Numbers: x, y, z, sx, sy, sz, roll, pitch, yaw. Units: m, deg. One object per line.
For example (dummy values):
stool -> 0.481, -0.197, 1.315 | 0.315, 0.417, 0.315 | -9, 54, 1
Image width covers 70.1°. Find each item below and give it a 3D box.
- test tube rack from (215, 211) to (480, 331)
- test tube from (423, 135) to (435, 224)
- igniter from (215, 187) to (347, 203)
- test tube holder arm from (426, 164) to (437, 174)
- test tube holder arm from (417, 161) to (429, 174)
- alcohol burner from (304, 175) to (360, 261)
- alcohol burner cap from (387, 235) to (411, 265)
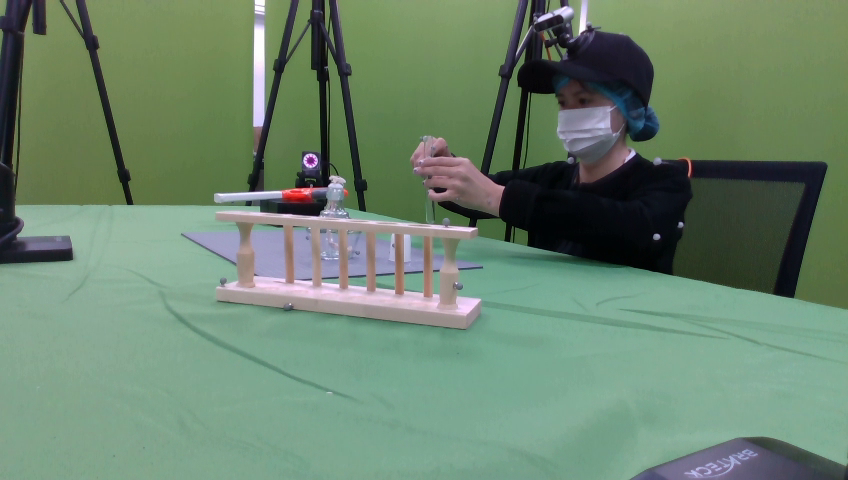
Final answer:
test tube rack -> -0.071, 0.023, 0.565 | 0.242, 0.085, 0.067 | 5, 7, 16
test tube -> 0.008, -0.101, 1.019 | 0.017, 0.150, 0.017 | -2, 9, 1
igniter -> -0.293, -0.095, 1.267 | 0.278, 0.025, 0.057 | -6, 12, -34
test tube holder arm -> 0.009, -0.123, 1.040 | 0.010, 0.015, 0.087 | 4, 10, -12
test tube holder arm -> -0.002, -0.131, 1.083 | 0.013, 0.015, 0.178 | 5, 10, -6
alcohol burner -> -0.126, -0.031, 0.838 | 0.078, 0.119, 0.078 | 3, 5, 0
alcohol burner cap -> -0.035, 0.009, 0.839 | 0.034, 0.048, 0.034 | 2, 6, 0
